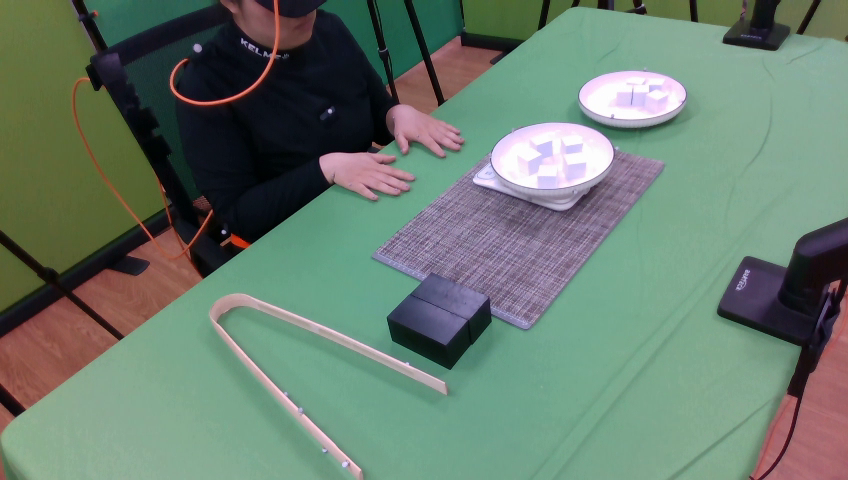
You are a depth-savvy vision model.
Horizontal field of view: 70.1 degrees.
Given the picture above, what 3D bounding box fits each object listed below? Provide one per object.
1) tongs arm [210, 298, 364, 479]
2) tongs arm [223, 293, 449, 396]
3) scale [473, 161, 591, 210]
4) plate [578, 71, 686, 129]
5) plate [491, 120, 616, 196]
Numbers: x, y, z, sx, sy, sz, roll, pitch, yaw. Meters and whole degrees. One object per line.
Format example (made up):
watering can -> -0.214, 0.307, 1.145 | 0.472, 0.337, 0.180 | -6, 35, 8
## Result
tongs arm -> -0.186, 0.180, 0.794 | 0.381, 0.026, 0.051 | 28, 51, 37
tongs arm -> -0.134, 0.139, 0.840 | 0.385, 0.028, 0.028 | 17, 49, 28
scale -> 0.202, -0.121, 1.074 | 0.199, 0.032, 0.149 | 23, 49, 33
plate -> 0.416, -0.280, 1.222 | 0.209, 0.038, 0.208 | -5, 41, 5
plate -> 0.220, -0.137, 1.038 | 0.207, 0.039, 0.206 | -6, 41, 5
